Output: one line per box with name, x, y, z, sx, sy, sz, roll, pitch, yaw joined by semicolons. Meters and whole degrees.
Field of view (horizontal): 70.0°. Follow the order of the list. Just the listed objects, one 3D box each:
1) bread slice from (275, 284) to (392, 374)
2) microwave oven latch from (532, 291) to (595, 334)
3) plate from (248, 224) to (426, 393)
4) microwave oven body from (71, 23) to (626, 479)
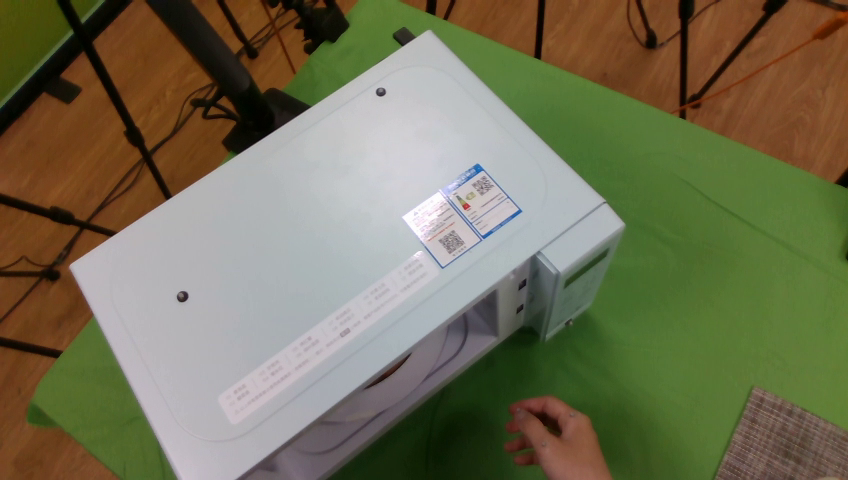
bread slice;-0.107;0.105;0.720;0.134;0.018;0.106;2;64;-3
microwave oven latch;0.169;0.079;0.734;0.079;0.030;0.030;-35;68;-8
plate;-0.101;0.081;0.723;0.208;0.039;0.206;0;65;1
microwave oven body;-0.071;0.038;0.674;0.441;0.262;0.323;-36;68;-8
